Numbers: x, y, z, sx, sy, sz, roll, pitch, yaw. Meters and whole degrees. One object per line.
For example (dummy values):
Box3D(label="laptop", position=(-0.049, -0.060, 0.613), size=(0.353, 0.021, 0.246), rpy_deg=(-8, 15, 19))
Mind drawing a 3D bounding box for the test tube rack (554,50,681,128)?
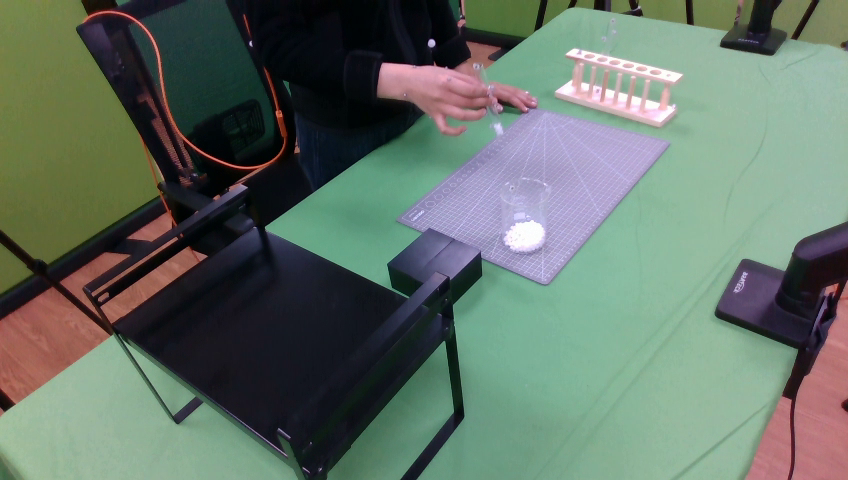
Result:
Box3D(label="test tube rack", position=(0.387, -0.311, 1.234), size=(0.240, 0.085, 0.067), rpy_deg=(28, 52, 35))

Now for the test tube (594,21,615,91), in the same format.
Box3D(label="test tube", position=(0.367, -0.372, 1.233), size=(0.017, 0.151, 0.017), rpy_deg=(0, 43, 0))

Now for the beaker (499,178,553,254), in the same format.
Box3D(label="beaker", position=(0.157, -0.035, 0.929), size=(0.084, 0.100, 0.073), rpy_deg=(-16, 41, -12))

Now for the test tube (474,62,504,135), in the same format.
Box3D(label="test tube", position=(0.107, -0.227, 0.985), size=(0.017, 0.151, 0.017), rpy_deg=(-12, 51, 15))
